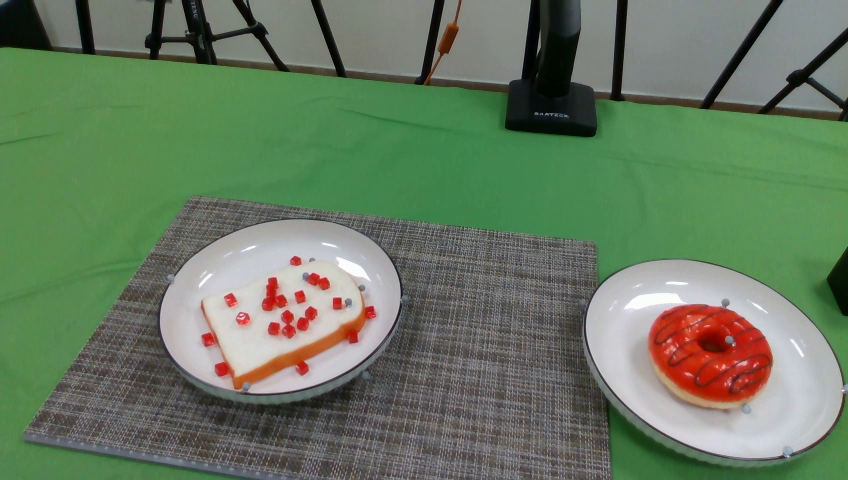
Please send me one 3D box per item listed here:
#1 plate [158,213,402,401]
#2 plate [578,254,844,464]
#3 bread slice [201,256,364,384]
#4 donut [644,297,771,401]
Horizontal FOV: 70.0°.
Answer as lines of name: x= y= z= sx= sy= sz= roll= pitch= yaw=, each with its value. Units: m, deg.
plate: x=-0.125 y=0.056 z=0.542 sx=0.209 sy=0.038 sz=0.207 roll=1 pitch=44 yaw=0
plate: x=0.234 y=0.097 z=0.516 sx=0.208 sy=0.039 sz=0.205 roll=1 pitch=43 yaw=-1
bread slice: x=-0.123 y=0.060 z=0.541 sx=0.132 sy=0.019 sz=0.103 roll=-23 pitch=49 yaw=-23
donut: x=0.235 y=0.089 z=0.507 sx=0.099 sy=0.049 sz=0.098 roll=-1 pitch=44 yaw=1
